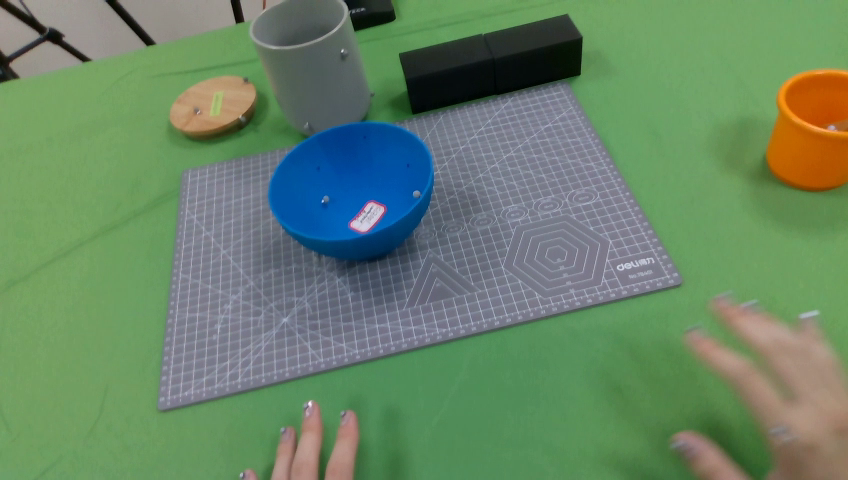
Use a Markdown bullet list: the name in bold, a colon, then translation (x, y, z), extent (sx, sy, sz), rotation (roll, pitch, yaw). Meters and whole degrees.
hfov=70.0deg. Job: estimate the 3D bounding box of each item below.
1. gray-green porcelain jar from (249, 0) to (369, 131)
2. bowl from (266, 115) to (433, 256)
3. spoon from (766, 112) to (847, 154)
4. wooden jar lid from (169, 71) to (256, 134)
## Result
- **gray-green porcelain jar**: translation (-0.121, -0.193, 0.671), extent (0.106, 0.128, 0.105), rotation (-5, 51, 7)
- **bowl**: translation (-0.061, -0.038, 0.563), extent (0.151, 0.077, 0.150), rotation (-5, 51, 7)
- **spoon**: translation (0.382, -0.112, 0.501), extent (0.022, 0.193, 0.041), rotation (42, 59, -14)
- **wooden jar lid**: translation (-0.258, -0.168, 0.745), extent (0.108, 0.021, 0.107), rotation (-4, 51, 5)
